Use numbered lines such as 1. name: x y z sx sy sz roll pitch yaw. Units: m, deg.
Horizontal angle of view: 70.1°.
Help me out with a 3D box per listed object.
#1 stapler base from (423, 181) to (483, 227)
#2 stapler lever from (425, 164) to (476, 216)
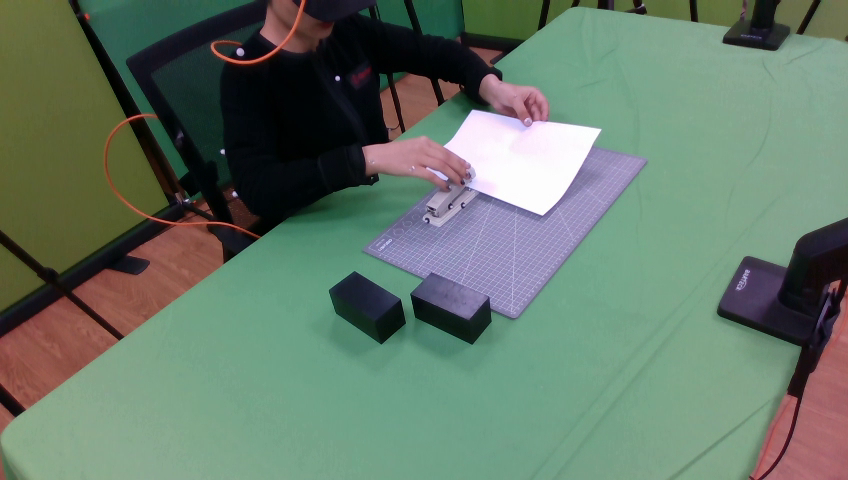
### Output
1. stapler base: 0.051 -0.071 1.052 0.041 0.024 0.131 22 51 35
2. stapler lever: 0.047 -0.088 1.035 0.026 0.040 0.118 22 50 35
